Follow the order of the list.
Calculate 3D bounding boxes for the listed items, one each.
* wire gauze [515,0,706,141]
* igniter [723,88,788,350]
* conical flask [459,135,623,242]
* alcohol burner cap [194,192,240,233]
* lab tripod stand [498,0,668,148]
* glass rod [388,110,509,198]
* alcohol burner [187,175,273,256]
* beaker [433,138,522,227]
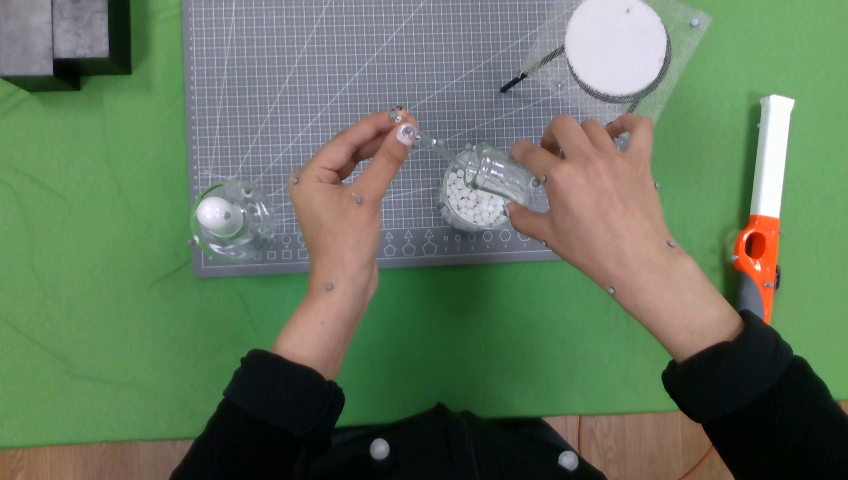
[{"bbox_3d":[0.154,-0.165,0.503,0.125,0.011,0.121,30,89,-2],"label":"wire gauze"},{"bbox_3d":[0.349,-0.021,0.637,0.057,0.025,0.276,8,89,-14],"label":"igniter"},{"bbox_3d":[0.090,-0.047,0.485,0.122,0.075,0.075,15,87,-18],"label":"conical flask"},{"bbox_3d":[-0.178,-0.026,0.516,0.034,0.048,0.034,1,82,-6],"label":"alcohol burner cap"},{"bbox_3d":[0.153,-0.161,0.569,0.148,0.131,0.148,0,90,-3],"label":"lab tripod stand"},{"bbox_3d":[0.028,-0.064,0.492,0.008,0.201,0.008,-8,73,29],"label":"glass rod"},{"bbox_3d":[-0.181,-0.023,0.552,0.078,0.119,0.078,0,90,-3],"label":"alcohol burner"},{"bbox_3d":[0.048,-0.048,0.577,0.074,0.100,0.084,-39,92,-4],"label":"beaker"}]
